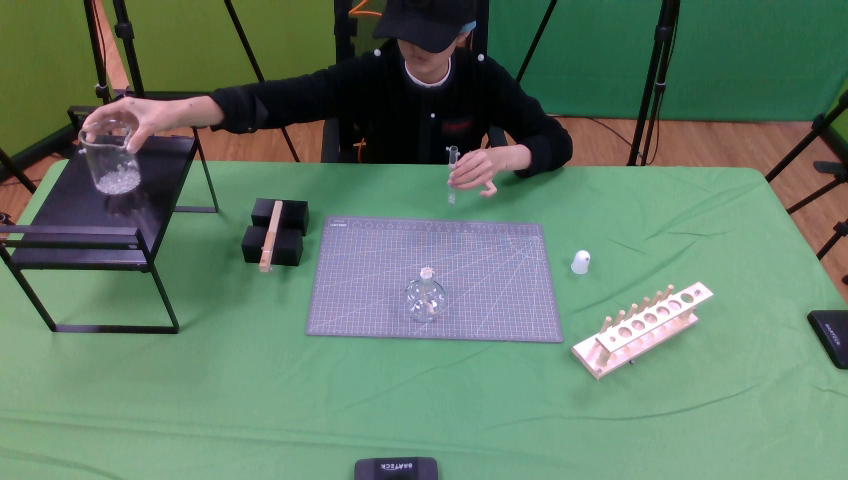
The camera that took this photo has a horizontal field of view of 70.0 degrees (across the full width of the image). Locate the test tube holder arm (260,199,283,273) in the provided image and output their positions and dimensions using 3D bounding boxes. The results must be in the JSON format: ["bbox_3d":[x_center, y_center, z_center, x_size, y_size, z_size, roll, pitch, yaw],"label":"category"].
[{"bbox_3d":[-0.281,-0.012,1.121,0.015,0.013,0.177,-3,47,3],"label":"test tube holder arm"}]

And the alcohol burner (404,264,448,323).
[{"bbox_3d":[0.003,0.087,1.042,0.078,0.120,0.077,1,45,0],"label":"alcohol burner"}]

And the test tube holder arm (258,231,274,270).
[{"bbox_3d":[-0.282,0.018,1.087,0.015,0.010,0.087,-3,47,3],"label":"test tube holder arm"}]

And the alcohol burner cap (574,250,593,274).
[{"bbox_3d":[0.308,0.039,1.163,0.034,0.048,0.033,1,46,-1],"label":"alcohol burner cap"}]

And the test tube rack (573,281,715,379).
[{"bbox_3d":[0.378,0.140,1.038,0.242,0.085,0.066,-22,51,-23],"label":"test tube rack"}]

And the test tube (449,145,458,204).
[{"bbox_3d":[0.057,-0.122,1.166,0.017,0.151,0.017,0,51,1],"label":"test tube"}]

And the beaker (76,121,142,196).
[{"bbox_3d":[-0.490,-0.125,0.955,0.083,0.101,0.074,29,45,22],"label":"beaker"}]
